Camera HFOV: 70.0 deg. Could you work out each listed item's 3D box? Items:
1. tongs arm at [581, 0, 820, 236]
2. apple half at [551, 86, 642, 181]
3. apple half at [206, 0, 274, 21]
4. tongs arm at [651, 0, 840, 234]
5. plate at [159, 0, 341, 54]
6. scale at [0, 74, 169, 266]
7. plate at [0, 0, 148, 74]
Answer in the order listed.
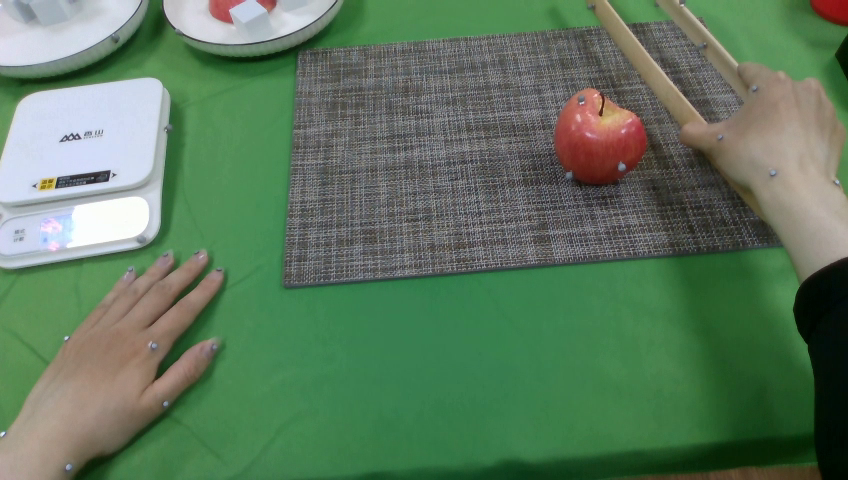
[{"bbox_3d":[0.227,-0.154,0.573,0.028,0.028,0.383,-17,57,-10],"label":"tongs arm"},{"bbox_3d":[0.142,-0.086,0.530,0.053,0.075,0.080,-39,67,-16],"label":"apple half"},{"bbox_3d":[-0.214,-0.288,0.698,0.081,0.033,0.080,-3,54,4],"label":"apple half"},{"bbox_3d":[0.264,-0.166,0.577,0.051,0.027,0.380,-19,57,-7],"label":"tongs arm"},{"bbox_3d":[-0.193,-0.281,0.699,0.209,0.038,0.207,-1,56,2],"label":"plate"},{"bbox_3d":[-0.321,-0.073,0.572,0.149,0.032,0.199,-9,57,-3],"label":"scale"},{"bbox_3d":[-0.418,-0.258,0.694,0.207,0.039,0.205,-1,57,2],"label":"plate"}]
